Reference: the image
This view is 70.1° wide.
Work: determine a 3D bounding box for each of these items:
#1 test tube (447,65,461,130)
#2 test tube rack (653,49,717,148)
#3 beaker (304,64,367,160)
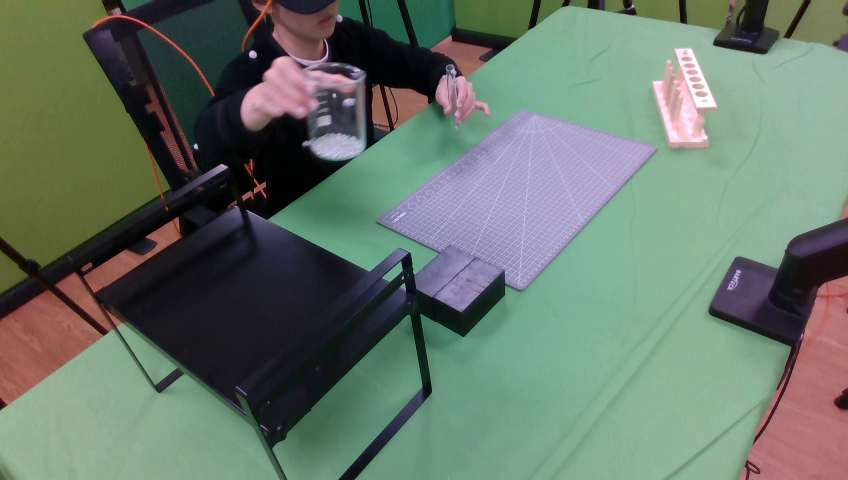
[{"bbox_3d":[0.055,-0.256,1.101,0.017,0.151,0.017,-3,57,5],"label":"test tube"},{"bbox_3d":[0.502,-0.281,1.177,0.066,0.085,0.241,1,41,10],"label":"test tube rack"},{"bbox_3d":[-0.105,-0.158,0.747,0.073,0.100,0.084,28,41,31],"label":"beaker"}]
